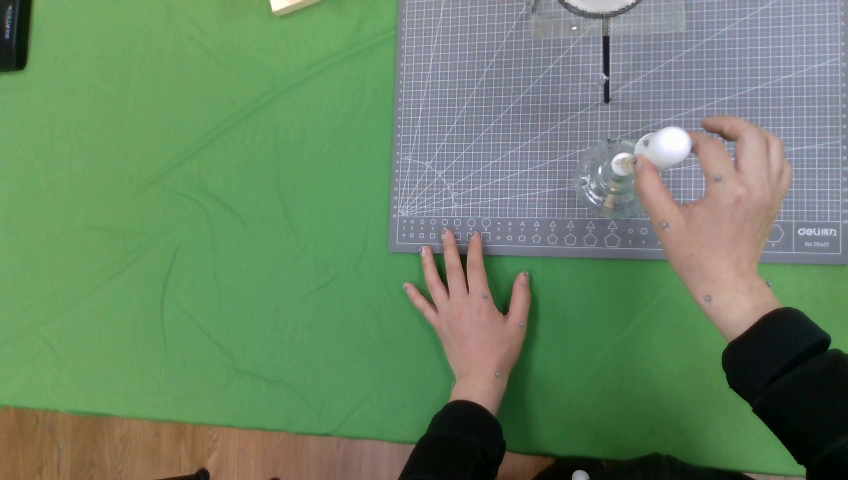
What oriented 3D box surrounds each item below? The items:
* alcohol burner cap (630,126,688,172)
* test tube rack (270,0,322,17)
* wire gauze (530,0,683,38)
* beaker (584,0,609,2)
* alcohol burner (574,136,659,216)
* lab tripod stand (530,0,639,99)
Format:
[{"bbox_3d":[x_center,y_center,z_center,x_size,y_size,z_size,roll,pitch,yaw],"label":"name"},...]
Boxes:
[{"bbox_3d":[0.180,-0.071,0.459,0.034,0.048,0.034,0,88,0],"label":"alcohol burner cap"},{"bbox_3d":[-0.077,-0.332,0.659,0.242,0.085,0.066,-16,82,11],"label":"test tube rack"},{"bbox_3d":[0.149,-0.228,0.502,0.125,0.011,0.121,1,89,11],"label":"wire gauze"},{"bbox_3d":[0.133,-0.233,0.456,0.083,0.100,0.074,15,89,14],"label":"beaker"},{"bbox_3d":[0.179,-0.062,0.560,0.078,0.119,0.077,-1,85,12],"label":"alcohol burner"},{"bbox_3d":[0.165,-0.221,0.565,0.148,0.132,0.148,-1,86,12],"label":"lab tripod stand"}]
